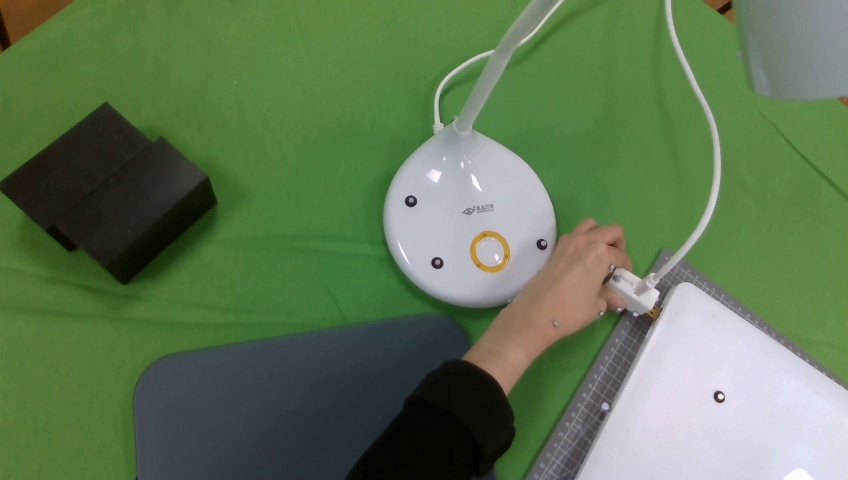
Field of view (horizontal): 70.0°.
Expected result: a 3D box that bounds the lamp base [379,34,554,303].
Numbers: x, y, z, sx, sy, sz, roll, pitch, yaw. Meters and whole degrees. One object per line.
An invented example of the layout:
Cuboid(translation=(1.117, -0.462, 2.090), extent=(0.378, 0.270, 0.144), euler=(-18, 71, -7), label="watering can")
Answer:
Cuboid(translation=(0.048, -0.057, 0.473), extent=(0.161, 0.181, 0.178), euler=(-22, 75, -18), label="lamp base")

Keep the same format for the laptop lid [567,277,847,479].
Cuboid(translation=(0.311, 0.218, 0.511), extent=(0.356, 0.013, 0.241), euler=(36, 71, 2), label="laptop lid")

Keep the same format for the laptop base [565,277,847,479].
Cuboid(translation=(0.310, 0.220, 0.523), extent=(0.354, 0.023, 0.235), euler=(35, 72, 1), label="laptop base")

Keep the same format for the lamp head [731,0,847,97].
Cuboid(translation=(0.144, -0.121, 0.190), extent=(0.112, 0.112, 0.123), euler=(-32, 104, -20), label="lamp head")

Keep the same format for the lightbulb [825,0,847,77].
Cuboid(translation=(0.167, -0.099, 0.188), extent=(0.060, 0.059, 0.108), euler=(-4, 112, -13), label="lightbulb")

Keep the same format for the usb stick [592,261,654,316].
Cuboid(translation=(0.183, 0.046, 0.542), extent=(0.059, 0.027, 0.021), euler=(34, 61, -2), label="usb stick")

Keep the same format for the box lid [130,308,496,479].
Cuboid(translation=(-0.063, 0.241, 0.442), extent=(0.264, 0.015, 0.369), euler=(-8, 75, -14), label="box lid")
